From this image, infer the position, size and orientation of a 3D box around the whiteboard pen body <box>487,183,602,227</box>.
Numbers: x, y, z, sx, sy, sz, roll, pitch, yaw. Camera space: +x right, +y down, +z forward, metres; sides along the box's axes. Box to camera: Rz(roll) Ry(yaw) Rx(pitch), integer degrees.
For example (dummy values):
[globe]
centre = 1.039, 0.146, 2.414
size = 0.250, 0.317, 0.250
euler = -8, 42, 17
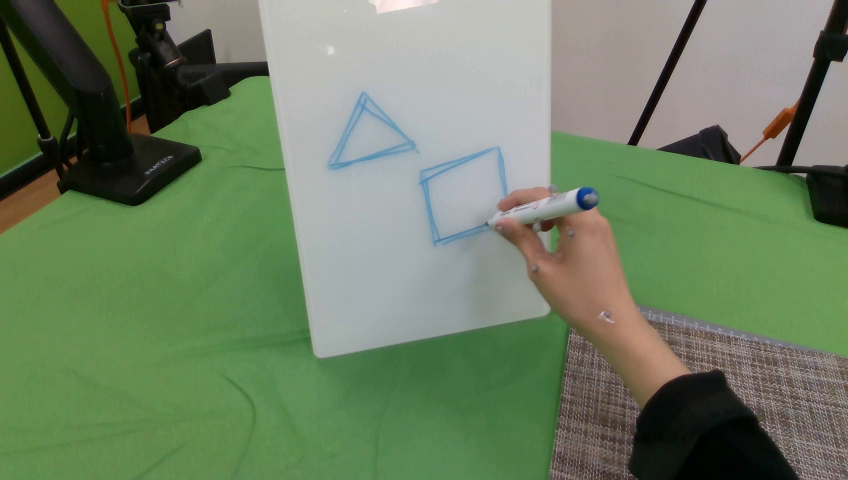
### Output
[whiteboard pen body]
centre = 0.080, -0.022, 0.443
size = 0.017, 0.017, 0.140
euler = -19, 2, -23

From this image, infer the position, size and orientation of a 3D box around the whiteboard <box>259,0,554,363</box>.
[whiteboard]
centre = -0.013, -0.078, 0.539
size = 0.218, 0.307, 0.142
euler = -9, 20, -11
